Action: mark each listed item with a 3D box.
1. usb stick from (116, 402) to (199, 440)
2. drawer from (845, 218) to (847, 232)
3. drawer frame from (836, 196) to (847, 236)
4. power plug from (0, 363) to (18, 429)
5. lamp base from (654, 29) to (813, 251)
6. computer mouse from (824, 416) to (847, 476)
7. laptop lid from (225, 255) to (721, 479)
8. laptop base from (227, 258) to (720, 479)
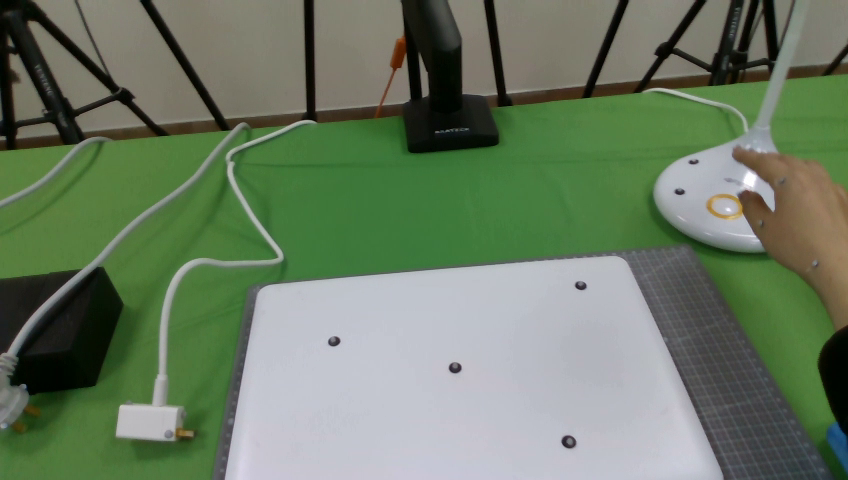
[{"bbox_3d":[-0.207,0.142,0.476,0.059,0.021,0.027,8,78,-4],"label":"usb stick"},{"bbox_3d":[0.532,0.019,0.533,0.194,0.074,0.209,-6,40,-2],"label":"drawer"},{"bbox_3d":[0.531,0.016,0.534,0.202,0.083,0.211,-7,40,-2],"label":"drawer frame"},{"bbox_3d":[-0.349,0.117,0.465,0.035,0.073,0.052,-17,20,35],"label":"power plug"},{"bbox_3d":[0.335,-0.109,0.616,0.159,0.182,0.178,19,44,23],"label":"lamp base"},{"bbox_3d":[0.333,0.167,0.412,0.063,0.041,0.116,-6,38,0],"label":"computer mouse"},{"bbox_3d":[0.026,0.108,0.495,0.357,0.013,0.239,-4,43,0],"label":"laptop lid"},{"bbox_3d":[0.027,0.115,0.504,0.354,0.023,0.233,-5,45,-2],"label":"laptop base"}]
